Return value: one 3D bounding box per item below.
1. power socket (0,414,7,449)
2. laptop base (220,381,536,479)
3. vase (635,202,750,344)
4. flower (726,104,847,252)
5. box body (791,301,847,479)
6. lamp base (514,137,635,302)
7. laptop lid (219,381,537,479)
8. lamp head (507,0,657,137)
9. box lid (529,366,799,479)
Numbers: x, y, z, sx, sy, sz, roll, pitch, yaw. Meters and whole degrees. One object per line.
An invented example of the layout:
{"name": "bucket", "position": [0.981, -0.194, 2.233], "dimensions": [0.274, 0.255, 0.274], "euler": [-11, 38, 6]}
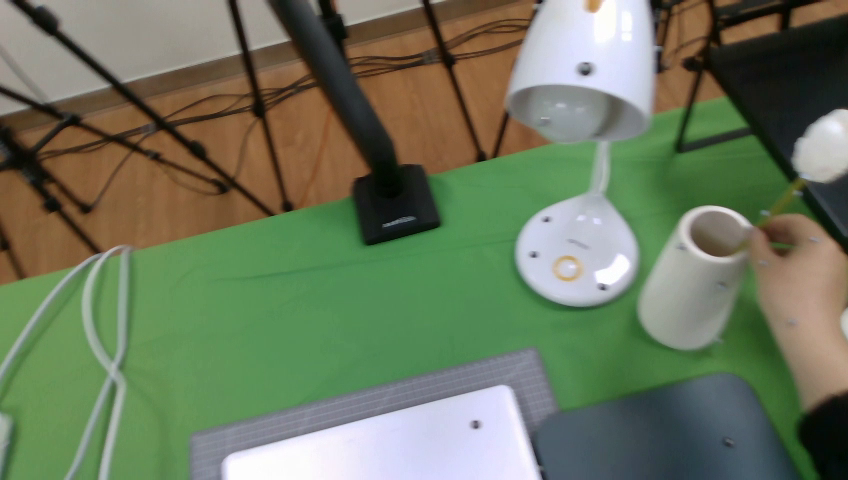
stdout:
{"name": "power socket", "position": [-0.568, 0.312, 0.729], "dimensions": [0.072, 0.033, 0.224], "euler": [-9, 57, 1]}
{"name": "laptop base", "position": [-0.047, 0.307, 0.670], "dimensions": [0.354, 0.023, 0.233], "euler": [-14, 61, -1]}
{"name": "vase", "position": [0.299, 0.041, 0.683], "dimensions": [0.098, 0.202, 0.097], "euler": [-4, 56, 7]}
{"name": "flower", "position": [0.305, 0.008, 0.602], "dimensions": [0.044, 0.364, 0.038], "euler": [3, 55, -4]}
{"name": "box body", "position": [0.554, 0.225, 0.554], "dimensions": [0.254, 0.162, 0.360], "euler": [-12, 57, 1]}
{"name": "lamp base", "position": [0.198, -0.040, 0.760], "dimensions": [0.160, 0.182, 0.178], "euler": [15, 59, 17]}
{"name": "laptop lid", "position": [-0.047, 0.303, 0.660], "dimensions": [0.357, 0.013, 0.239], "euler": [-13, 60, 0]}
{"name": "lamp head", "position": [0.133, -0.153, 0.483], "dimensions": [0.112, 0.113, 0.122], "euler": [12, 78, 15]}
{"name": "box lid", "position": [0.281, 0.321, 0.621], "dimensions": [0.263, 0.015, 0.367], "euler": [-14, 57, -2]}
